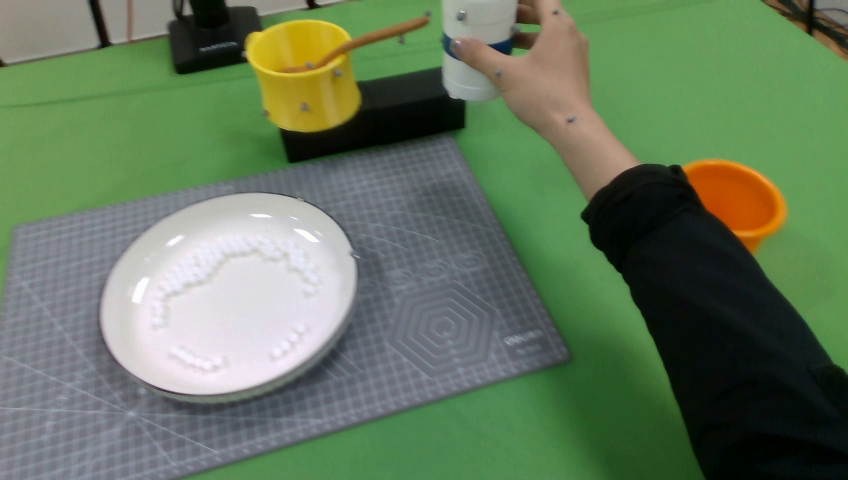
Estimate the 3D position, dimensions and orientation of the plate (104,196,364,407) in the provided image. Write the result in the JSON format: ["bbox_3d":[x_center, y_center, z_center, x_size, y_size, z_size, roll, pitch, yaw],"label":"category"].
[{"bbox_3d":[-0.153,0.048,0.510,0.208,0.039,0.205,0,49,1],"label":"plate"}]

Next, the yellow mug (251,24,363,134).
[{"bbox_3d":[-0.128,-0.169,0.615,0.130,0.064,0.099,25,53,23],"label":"yellow mug"}]

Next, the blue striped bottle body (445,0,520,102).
[{"bbox_3d":[0.049,-0.185,0.518,0.063,0.122,0.062,-2,49,2],"label":"blue striped bottle body"}]

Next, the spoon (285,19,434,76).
[{"bbox_3d":[-0.072,-0.174,0.575,0.193,0.022,0.041,-13,38,36],"label":"spoon"}]
